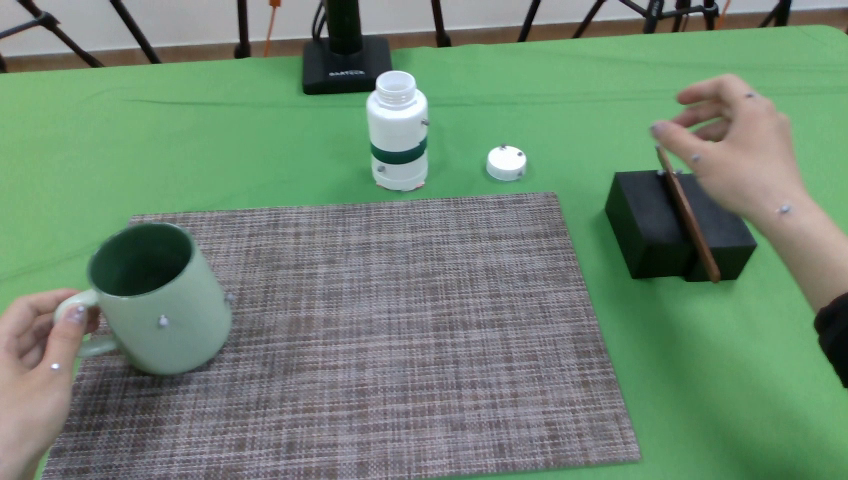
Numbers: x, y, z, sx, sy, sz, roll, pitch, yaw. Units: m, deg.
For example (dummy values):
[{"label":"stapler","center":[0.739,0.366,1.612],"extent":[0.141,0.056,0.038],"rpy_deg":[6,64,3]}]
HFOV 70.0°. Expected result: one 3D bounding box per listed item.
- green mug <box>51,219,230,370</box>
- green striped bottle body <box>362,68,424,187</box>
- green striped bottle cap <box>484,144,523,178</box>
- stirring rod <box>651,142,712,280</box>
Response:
[{"label":"green mug","center":[-0.228,0.053,0.489],"extent":[0.125,0.106,0.091],"rpy_deg":[-25,52,-21]},{"label":"green striped bottle body","center":[-0.032,-0.119,0.642],"extent":[0.063,0.120,0.062],"rpy_deg":[0,47,0]},{"label":"green striped bottle cap","center":[0.090,-0.089,0.686],"extent":[0.044,0.020,0.044],"rpy_deg":[0,44,0]},{"label":"stirring rod","center":[0.239,-0.033,0.567],"extent":[0.006,0.014,0.174],"rpy_deg":[-3,48,2]}]
